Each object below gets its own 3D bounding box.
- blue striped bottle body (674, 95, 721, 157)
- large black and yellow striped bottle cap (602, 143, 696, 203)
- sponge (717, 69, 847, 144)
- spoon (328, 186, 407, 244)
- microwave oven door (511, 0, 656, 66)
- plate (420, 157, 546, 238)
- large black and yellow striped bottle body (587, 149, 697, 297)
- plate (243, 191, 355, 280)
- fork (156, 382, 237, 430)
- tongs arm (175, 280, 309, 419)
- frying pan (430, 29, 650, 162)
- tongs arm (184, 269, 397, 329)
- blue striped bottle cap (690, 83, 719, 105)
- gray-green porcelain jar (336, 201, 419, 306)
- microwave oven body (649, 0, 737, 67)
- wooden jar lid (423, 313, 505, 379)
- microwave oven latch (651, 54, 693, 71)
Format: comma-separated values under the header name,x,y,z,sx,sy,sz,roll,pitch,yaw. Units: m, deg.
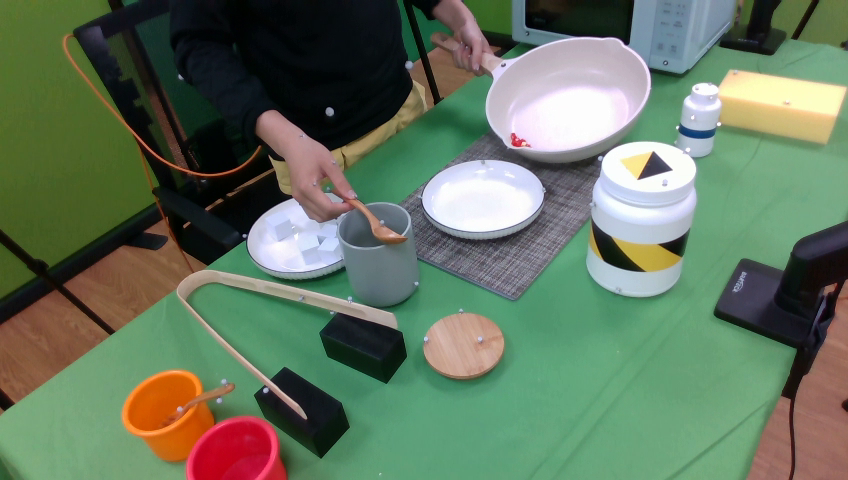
name,x,y,z,sx,sy,sz,roll,pitch,yaw
blue striped bottle body,0.486,-0.213,1.071,0.063,0.121,0.063,-4,41,4
large black and yellow striped bottle cap,0.289,-0.088,0.779,0.115,0.019,0.114,-5,39,4
sponge,0.663,-0.256,1.142,0.205,0.061,0.118,19,47,28
spoon,-0.084,-0.039,0.836,0.042,0.021,0.192,-3,31,-37
microwave oven door,0.351,-0.539,1.349,0.353,0.245,0.039,24,50,31
plate,0.099,-0.067,1.017,0.209,0.038,0.208,-4,40,4
large black and yellow striped bottle body,0.298,-0.026,0.835,0.131,0.185,0.130,-4,41,4
plate,-0.188,-0.005,0.992,0.207,0.039,0.206,-4,41,4
fork,-0.262,0.189,0.690,0.018,0.206,0.028,49,43,-7
tongs arm,-0.254,0.133,0.801,0.028,0.028,0.384,-41,41,-23
frying pan,0.190,-0.310,1.161,0.307,0.103,0.484,-44,61,-14
tongs arm,-0.203,0.085,0.847,0.382,0.027,0.051,11,45,35
blue striped bottle cap,0.481,-0.251,1.038,0.044,0.021,0.044,-5,40,5
gray-green porcelain jar,-0.064,0.024,0.872,0.106,0.127,0.105,-4,41,4
microwave oven body,0.475,-0.602,1.411,0.438,0.261,0.327,23,50,32
wooden jar lid,0.053,0.142,0.800,0.108,0.021,0.108,-5,39,4
microwave oven latch,0.531,-0.386,1.301,0.078,0.029,0.030,26,51,33
